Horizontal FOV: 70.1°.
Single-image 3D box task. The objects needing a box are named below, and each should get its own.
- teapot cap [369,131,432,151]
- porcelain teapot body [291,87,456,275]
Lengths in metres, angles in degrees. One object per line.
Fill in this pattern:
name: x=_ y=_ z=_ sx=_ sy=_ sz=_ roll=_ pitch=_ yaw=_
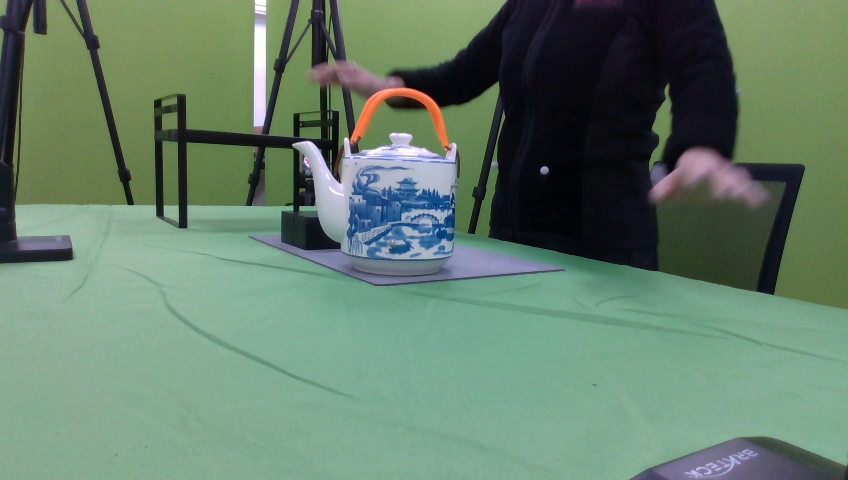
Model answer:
teapot cap: x=-0.030 y=-0.114 z=0.754 sx=0.085 sy=0.044 sz=0.085 roll=1 pitch=10 yaw=0
porcelain teapot body: x=-0.061 y=-0.076 z=0.754 sx=0.206 sy=0.225 sz=0.145 roll=0 pitch=8 yaw=-12
